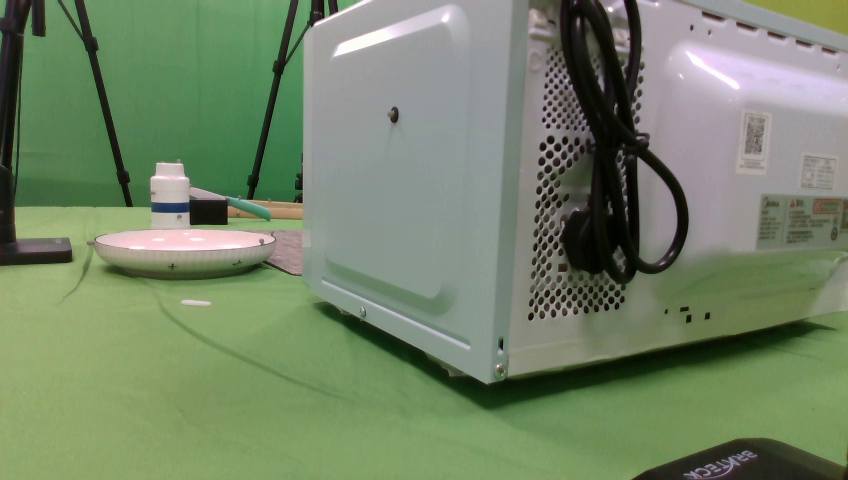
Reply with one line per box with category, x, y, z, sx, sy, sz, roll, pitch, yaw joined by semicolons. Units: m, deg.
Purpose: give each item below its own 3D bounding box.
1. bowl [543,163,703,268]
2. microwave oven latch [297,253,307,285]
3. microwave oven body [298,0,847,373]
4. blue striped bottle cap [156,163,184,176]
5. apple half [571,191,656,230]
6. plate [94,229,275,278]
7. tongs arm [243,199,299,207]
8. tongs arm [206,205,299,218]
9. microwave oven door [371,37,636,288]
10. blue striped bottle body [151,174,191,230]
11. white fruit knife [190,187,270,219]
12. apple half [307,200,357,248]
bowl;0.181;-0.020;0.585;0.151;0.077;0.151;13;7;-1
microwave oven latch;-0.082;0.027;0.582;0.079;0.029;0.030;-1;7;-33
microwave oven body;0.151;-0.055;0.542;0.444;0.260;0.324;-1;7;-33
blue striped bottle cap;-0.438;-0.122;1.045;0.044;0.020;0.044;5;6;0
apple half;0.181;-0.031;0.584;0.081;0.033;0.081;10;-5;1
plate;-0.291;0.016;0.749;0.208;0.039;0.207;2;7;0
tongs arm;-0.309;-0.079;1.487;0.385;0.026;0.050;3;7;-2
tongs arm;-0.302;-0.065;1.407;0.389;0.028;0.028;1;4;-15
microwave oven door;0.110;-0.080;0.686;0.358;0.243;0.039;-2;9;-33
blue striped bottle body;-0.439;-0.071;1.052;0.063;0.120;0.063;2;7;0
white fruit knife;-0.413;-0.081;1.270;0.208;0.027;0.016;17;14;-41
apple half;-0.135;-0.024;0.941;0.053;0.074;0.081;13;8;38
